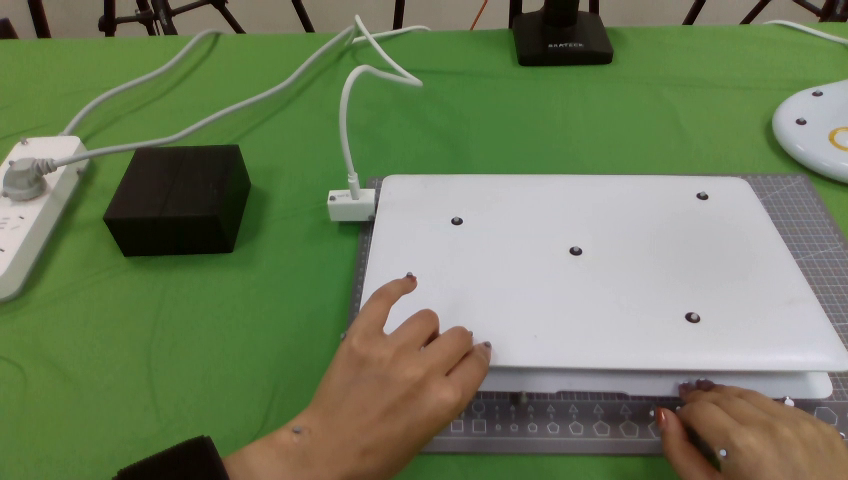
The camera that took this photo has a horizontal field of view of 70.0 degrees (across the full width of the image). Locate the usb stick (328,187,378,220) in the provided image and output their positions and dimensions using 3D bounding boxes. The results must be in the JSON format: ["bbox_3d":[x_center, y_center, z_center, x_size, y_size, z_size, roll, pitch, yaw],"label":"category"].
[{"bbox_3d":[-0.060,-0.034,0.577,0.059,0.027,0.021,0,45,0],"label":"usb stick"}]

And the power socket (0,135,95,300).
[{"bbox_3d":[-0.394,-0.029,0.592,0.072,0.033,0.224,-1,46,-1],"label":"power socket"}]

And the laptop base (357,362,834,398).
[{"bbox_3d":[0.130,0.030,0.526,0.354,0.023,0.233,1,50,3],"label":"laptop base"}]

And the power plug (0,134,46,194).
[{"bbox_3d":[-0.384,-0.077,0.568,0.053,0.073,0.035,11,29,-19],"label":"power plug"}]

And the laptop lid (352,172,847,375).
[{"bbox_3d":[0.128,0.012,0.507,0.356,0.013,0.239,2,42,4],"label":"laptop lid"}]

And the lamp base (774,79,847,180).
[{"bbox_3d":[0.462,-0.174,0.595,0.159,0.182,0.179,27,51,25],"label":"lamp base"}]
